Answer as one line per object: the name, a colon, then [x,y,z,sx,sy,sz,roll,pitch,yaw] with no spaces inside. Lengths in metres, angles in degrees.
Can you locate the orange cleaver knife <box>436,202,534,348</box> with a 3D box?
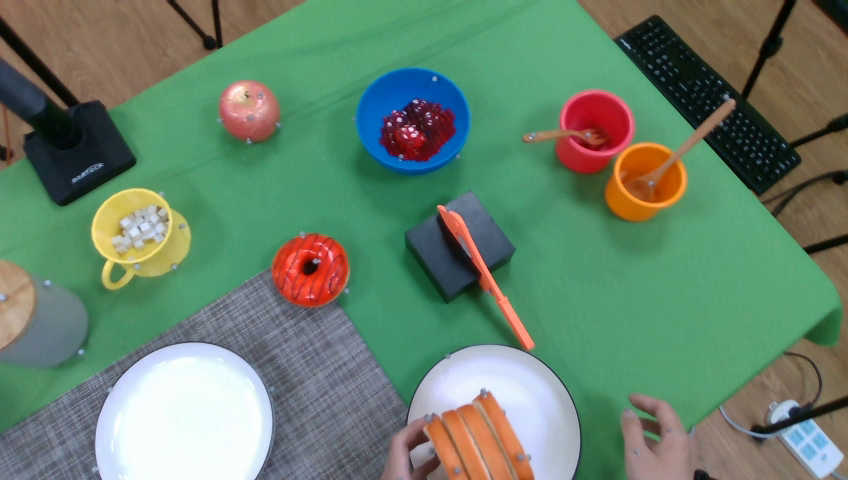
orange cleaver knife: [0.074,0.043,0.760,0.012,0.077,0.212,-33,100,-11]

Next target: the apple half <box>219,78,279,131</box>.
apple half: [-0.233,-0.189,0.833,0.080,0.075,0.053,20,67,10]

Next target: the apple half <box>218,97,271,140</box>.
apple half: [-0.247,-0.155,0.820,0.081,0.082,0.032,21,68,6]

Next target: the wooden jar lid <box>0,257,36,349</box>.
wooden jar lid: [-0.472,0.072,0.654,0.108,0.021,0.107,0,71,1]

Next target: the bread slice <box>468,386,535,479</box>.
bread slice: [0.080,0.208,0.634,0.018,0.135,0.106,-25,71,-12]

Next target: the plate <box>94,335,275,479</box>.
plate: [-0.278,0.219,0.719,0.208,0.039,0.206,0,73,-1]

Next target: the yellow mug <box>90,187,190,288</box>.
yellow mug: [-0.369,0.003,0.775,0.100,0.064,0.130,23,74,6]

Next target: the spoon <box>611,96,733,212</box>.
spoon: [0.316,-0.107,0.777,0.041,0.194,0.022,51,35,16]

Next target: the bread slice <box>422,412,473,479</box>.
bread slice: [0.027,0.229,0.632,0.019,0.132,0.104,-26,70,-10]

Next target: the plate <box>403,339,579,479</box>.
plate: [0.079,0.224,0.726,0.209,0.038,0.208,0,72,-1]

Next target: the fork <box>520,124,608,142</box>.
fork: [0.185,-0.139,0.786,0.208,0.018,0.028,-11,67,-48]

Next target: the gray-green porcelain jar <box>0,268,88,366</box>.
gray-green porcelain jar: [-0.472,0.092,0.713,0.106,0.127,0.105,0,72,-1]

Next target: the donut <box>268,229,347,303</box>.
donut: [-0.148,0.034,0.775,0.099,0.048,0.098,1,73,-2]

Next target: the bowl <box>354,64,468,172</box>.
bowl: [-0.017,-0.151,0.822,0.151,0.077,0.150,0,73,-1]
